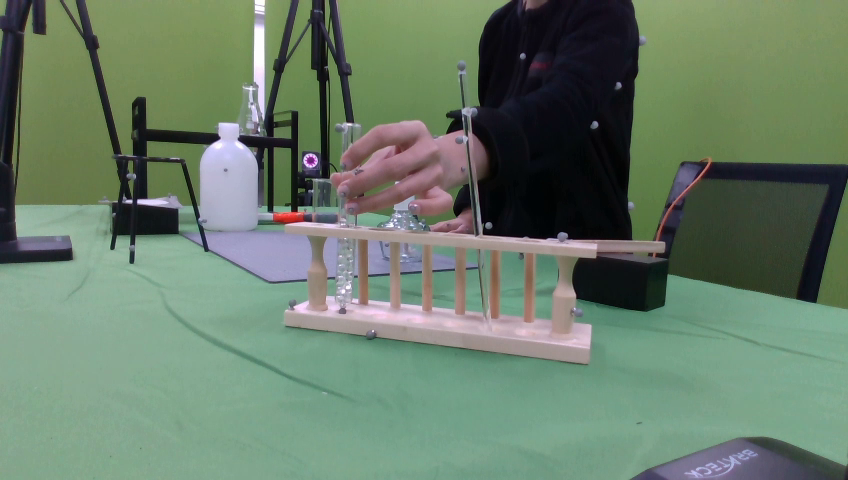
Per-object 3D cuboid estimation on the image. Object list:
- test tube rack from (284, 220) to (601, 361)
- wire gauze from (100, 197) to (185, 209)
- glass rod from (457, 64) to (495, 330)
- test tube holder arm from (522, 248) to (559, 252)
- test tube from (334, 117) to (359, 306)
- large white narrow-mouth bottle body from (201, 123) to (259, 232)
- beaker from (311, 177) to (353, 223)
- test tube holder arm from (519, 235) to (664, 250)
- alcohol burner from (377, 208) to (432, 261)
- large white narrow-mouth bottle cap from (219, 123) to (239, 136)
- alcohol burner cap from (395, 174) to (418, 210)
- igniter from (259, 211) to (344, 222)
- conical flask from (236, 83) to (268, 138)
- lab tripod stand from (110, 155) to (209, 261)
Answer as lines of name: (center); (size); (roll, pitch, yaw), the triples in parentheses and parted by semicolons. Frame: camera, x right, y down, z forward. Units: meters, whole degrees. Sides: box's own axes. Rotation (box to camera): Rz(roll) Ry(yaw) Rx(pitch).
test tube rack: (0.013, 0.032, 0.482); (0.242, 0.085, 0.067); (4, 7, 16)
wire gauze: (-0.469, -0.062, 1.008); (0.126, 0.011, 0.121); (-2, 8, -25)
glass rod: (0.040, -0.029, 0.449); (0.008, 0.199, 0.008); (-7, 9, 1)
test tube holder arm: (0.144, 0.005, 0.636); (0.088, 0.015, 0.010); (-1, 18, -20)
test tube: (-0.062, -0.021, 0.479); (0.017, 0.150, 0.017); (3, 9, 0)
large white narrow-mouth bottle body: (-0.358, -0.116, 1.116); (0.102, 0.194, 0.102); (2, 8, 0)
beaker: (-0.168, -0.064, 1.106); (0.074, 0.100, 0.083); (-2, 9, -26)
test tube holder arm: (0.185, 0.003, 0.657); (0.179, 0.015, 0.013); (-1, 18, -20)
alcohol burner: (-0.027, -0.031, 0.838); (0.078, 0.119, 0.078); (0, 6, 0)
large white narrow-mouth bottle cap: (-0.356, -0.201, 1.104); (0.038, 0.024, 0.037); (2, 8, 0)
alcohol burner cap: (-0.026, -0.067, 0.833); (0.034, 0.048, 0.034); (-2, 12, 1)
igniter: (-0.302, -0.047, 1.249); (0.278, 0.025, 0.057); (-2, -2, -27)
conical flask: (-0.399, -0.298, 1.396); (0.075, 0.122, 0.075); (2, 8, 0)
lab tripod stand: (-0.362, -0.046, 0.806); (0.148, 0.131, 0.148); (2, 5, 0)
